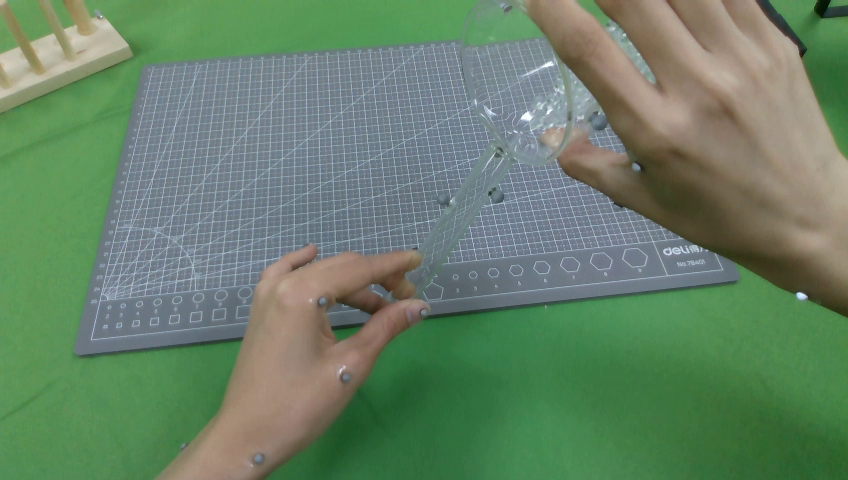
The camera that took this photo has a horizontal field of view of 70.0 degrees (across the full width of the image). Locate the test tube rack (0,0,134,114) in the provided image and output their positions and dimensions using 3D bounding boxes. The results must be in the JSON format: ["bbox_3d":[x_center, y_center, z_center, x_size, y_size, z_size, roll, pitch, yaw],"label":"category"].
[{"bbox_3d":[-0.391,-0.157,0.513,0.242,0.086,0.066,-33,60,-22],"label":"test tube rack"}]

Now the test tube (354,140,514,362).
[{"bbox_3d":[0.001,0.012,0.326,0.017,0.150,0.017,28,24,-13],"label":"test tube"}]

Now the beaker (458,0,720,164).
[{"bbox_3d":[0.077,-0.087,0.281,0.100,0.084,0.073,-29,62,-20],"label":"beaker"}]
